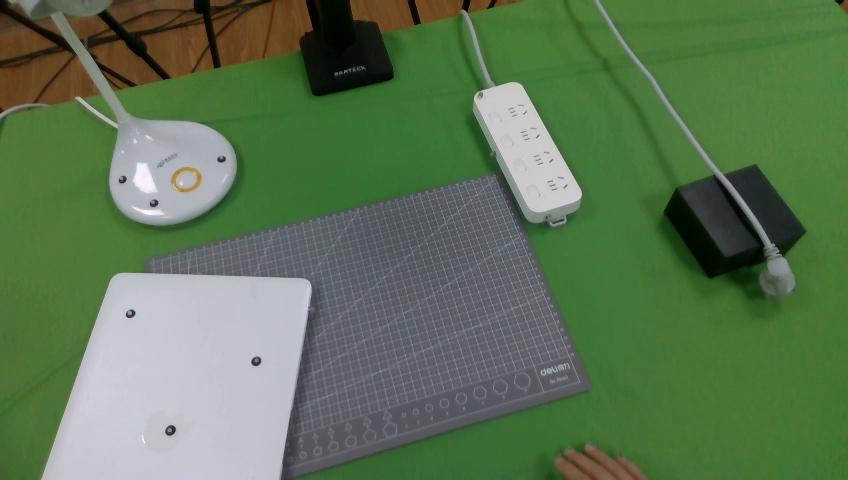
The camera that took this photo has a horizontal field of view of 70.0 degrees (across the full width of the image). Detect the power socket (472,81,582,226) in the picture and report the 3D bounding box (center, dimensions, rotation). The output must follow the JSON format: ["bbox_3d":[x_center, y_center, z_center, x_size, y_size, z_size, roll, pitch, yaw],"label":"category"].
[{"bbox_3d":[0.128,-0.118,0.778,0.072,0.033,0.224,-16,61,-8],"label":"power socket"}]

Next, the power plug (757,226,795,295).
[{"bbox_3d":[0.386,0.024,0.666,0.035,0.053,0.072,-3,75,16],"label":"power plug"}]

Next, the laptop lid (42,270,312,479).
[{"bbox_3d":[-0.253,0.191,0.614,0.241,0.013,0.353,4,61,3],"label":"laptop lid"}]

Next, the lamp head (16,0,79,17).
[{"bbox_3d":[-0.299,-0.252,0.466,0.112,0.112,0.124,-44,110,-20],"label":"lamp head"}]

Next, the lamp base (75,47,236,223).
[{"bbox_3d":[-0.338,-0.134,0.723,0.178,0.182,0.160,29,65,21],"label":"lamp base"}]

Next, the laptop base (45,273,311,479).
[{"bbox_3d":[-0.254,0.197,0.624,0.235,0.023,0.351,3,61,1],"label":"laptop base"}]
